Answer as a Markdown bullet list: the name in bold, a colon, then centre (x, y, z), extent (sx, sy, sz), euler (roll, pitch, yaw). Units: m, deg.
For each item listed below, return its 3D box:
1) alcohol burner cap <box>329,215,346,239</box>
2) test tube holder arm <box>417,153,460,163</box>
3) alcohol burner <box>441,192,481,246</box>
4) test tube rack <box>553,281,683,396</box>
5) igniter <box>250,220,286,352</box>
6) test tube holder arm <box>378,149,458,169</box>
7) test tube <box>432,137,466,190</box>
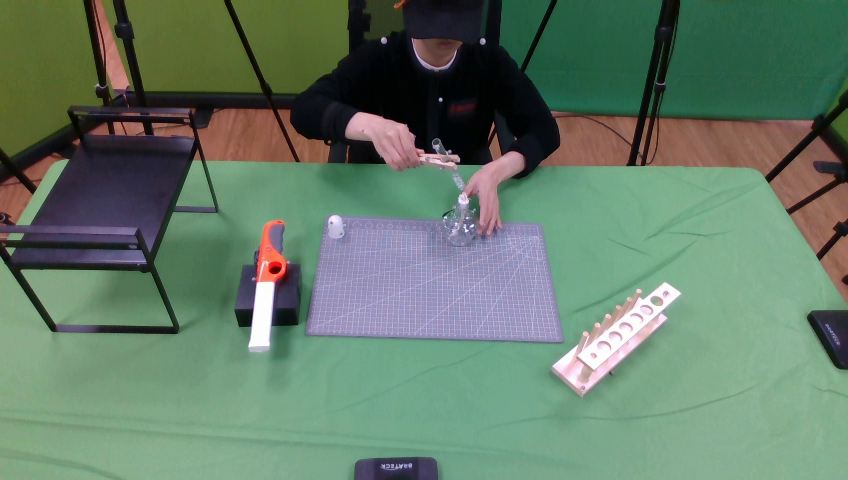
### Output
- **alcohol burner cap**: centre (-0.172, -0.028, 1.192), extent (0.034, 0.048, 0.033), euler (1, 47, -1)
- **test tube holder arm**: centre (0.024, -0.145, 1.069), extent (0.087, 0.015, 0.010), euler (6, 60, 33)
- **alcohol burner**: centre (0.074, -0.046, 1.176), extent (0.078, 0.119, 0.077), euler (3, 44, -2)
- **test tube rack**: centre (0.329, 0.153, 1.023), extent (0.242, 0.085, 0.066), euler (-30, 54, -28)
- **igniter**: centre (-0.269, 0.068, 1.042), extent (0.057, 0.025, 0.274), euler (0, 48, -7)
- **test tube holder arm**: centre (-0.015, -0.147, 1.093), extent (0.177, 0.015, 0.013), euler (13, 64, 36)
- **test tube**: centre (0.047, -0.132, 1.066), extent (0.017, 0.151, 0.017), euler (-10, 60, 18)
